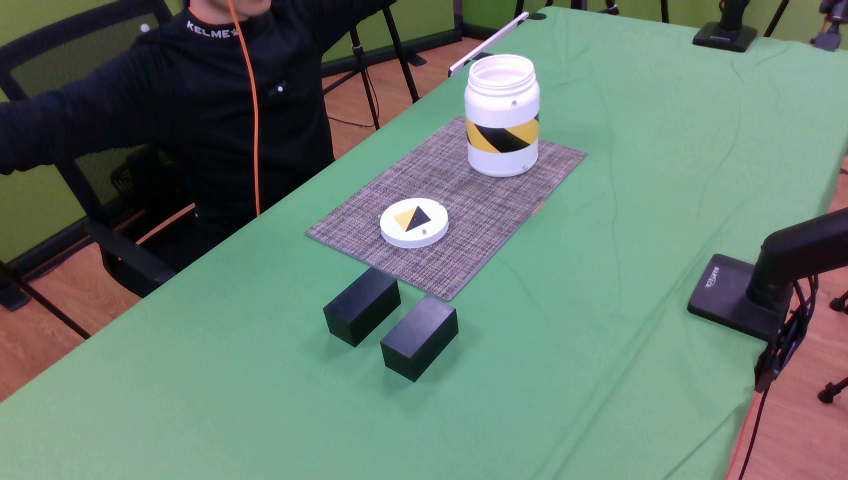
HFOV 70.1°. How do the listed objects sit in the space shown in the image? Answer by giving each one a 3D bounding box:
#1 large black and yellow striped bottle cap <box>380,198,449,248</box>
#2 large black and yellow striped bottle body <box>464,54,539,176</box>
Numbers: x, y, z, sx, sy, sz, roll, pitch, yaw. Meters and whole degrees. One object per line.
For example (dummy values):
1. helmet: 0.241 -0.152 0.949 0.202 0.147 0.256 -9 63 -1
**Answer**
1. large black and yellow striped bottle cap: -0.016 -0.030 1.004 0.115 0.019 0.114 -5 40 4
2. large black and yellow striped bottle body: 0.139 -0.221 1.075 0.131 0.185 0.130 -4 41 4
